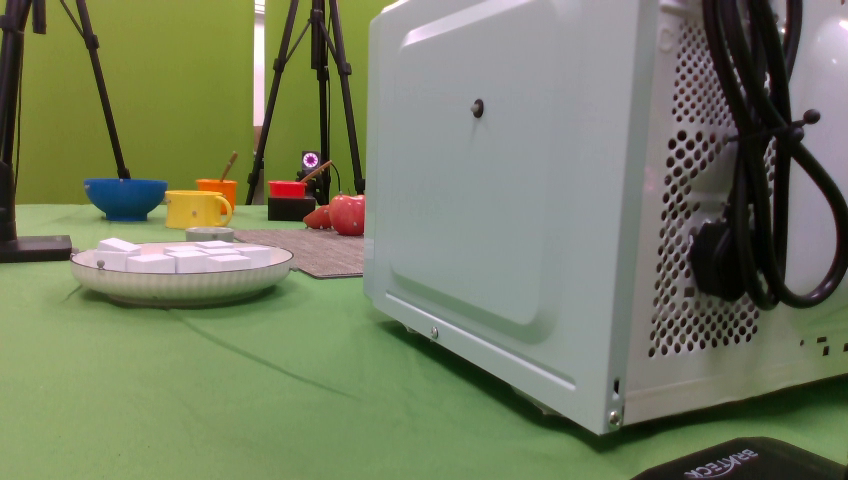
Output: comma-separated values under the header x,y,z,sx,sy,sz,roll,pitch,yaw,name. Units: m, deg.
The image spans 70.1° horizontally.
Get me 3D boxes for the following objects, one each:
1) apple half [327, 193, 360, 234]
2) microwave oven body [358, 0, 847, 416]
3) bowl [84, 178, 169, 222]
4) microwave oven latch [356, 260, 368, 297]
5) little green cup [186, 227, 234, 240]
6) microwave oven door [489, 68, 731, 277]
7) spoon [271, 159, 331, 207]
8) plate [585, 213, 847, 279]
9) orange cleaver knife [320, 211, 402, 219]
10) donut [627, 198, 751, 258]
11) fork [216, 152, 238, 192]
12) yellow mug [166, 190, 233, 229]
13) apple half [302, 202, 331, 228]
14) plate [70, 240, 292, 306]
x,y,z,sx,sy,sz,roll,pitch,yaw,name
-0.132,-0.047,1.087,0.081,0.074,0.053,5,11,-13,apple half
0.211,-0.047,0.475,0.444,0.260,0.324,-1,7,-28,microwave oven body
-0.584,-0.078,1.193,0.151,0.077,0.151,3,8,0,bowl
-0.020,0.033,0.530,0.079,0.029,0.030,-1,7,-27,microwave oven latch
-0.284,0.005,0.805,0.061,0.038,0.061,2,8,0,little green cup
0.229,-0.098,0.834,0.039,0.243,0.354,-4,10,-37,microwave oven door
-0.308,-0.142,1.514,0.193,0.021,0.041,-41,4,9,spoon
0.243,0.002,0.512,0.209,0.038,0.209,2,7,0,plate
-0.142,-0.057,1.394,0.077,0.012,0.212,3,7,44,orange cleaver knife
0.226,-0.010,0.520,0.099,0.048,0.099,4,6,0,donut
-0.455,-0.132,1.367,0.028,0.018,0.207,-2,-35,-37,fork
-0.415,-0.057,1.132,0.130,0.064,0.100,6,8,16,yellow mug
-0.192,-0.043,1.169,0.081,0.032,0.081,-23,-12,-5,apple half
-0.242,0.032,0.618,0.208,0.039,0.207,2,8,0,plate
